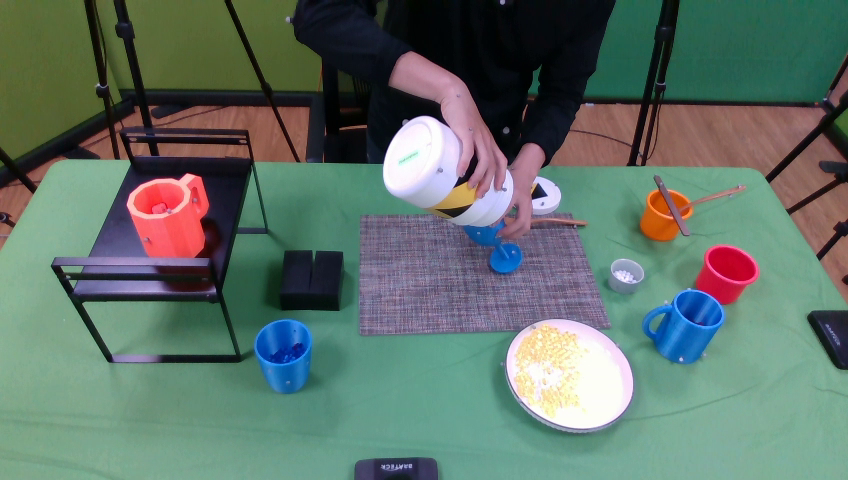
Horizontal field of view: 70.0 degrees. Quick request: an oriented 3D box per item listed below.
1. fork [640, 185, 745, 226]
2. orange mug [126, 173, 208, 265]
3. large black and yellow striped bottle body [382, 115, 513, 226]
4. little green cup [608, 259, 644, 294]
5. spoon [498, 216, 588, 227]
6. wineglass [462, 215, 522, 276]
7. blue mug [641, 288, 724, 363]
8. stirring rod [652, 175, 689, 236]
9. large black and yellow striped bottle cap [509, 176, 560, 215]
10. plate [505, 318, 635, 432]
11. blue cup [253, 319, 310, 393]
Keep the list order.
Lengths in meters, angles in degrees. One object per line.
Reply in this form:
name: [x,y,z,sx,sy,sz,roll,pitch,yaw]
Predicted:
fork: [0.534,-0.069,1.215,0.207,0.019,0.028,-26,28,33]
orange mug: [-0.371,-0.039,0.902,0.083,0.101,0.126,18,52,13]
large black and yellow striped bottle body: [0.041,-0.101,0.950,0.185,0.131,0.130,22,33,-38]
little green cup: [0.379,0.070,1.147,0.061,0.039,0.061,3,46,-3]
spoon: [0.246,-0.039,1.247,0.194,0.022,0.041,-2,25,-6]
wineglass: [0.122,-0.009,1.092,0.073,0.173,0.073,-13,55,20]
blue mug: [0.432,0.144,1.033,0.116,0.106,0.082,9,46,4]
stirring rod: [0.491,-0.072,1.211,0.014,0.006,0.175,0,46,-6]
large black and yellow striped bottle cap: [0.237,-0.098,1.312,0.115,0.019,0.114,2,43,-1]
plate: [0.235,0.221,0.991,0.209,0.038,0.208,2,45,-2]
blue cup: [-0.217,0.187,0.943,0.093,0.101,0.092,3,45,-3]
